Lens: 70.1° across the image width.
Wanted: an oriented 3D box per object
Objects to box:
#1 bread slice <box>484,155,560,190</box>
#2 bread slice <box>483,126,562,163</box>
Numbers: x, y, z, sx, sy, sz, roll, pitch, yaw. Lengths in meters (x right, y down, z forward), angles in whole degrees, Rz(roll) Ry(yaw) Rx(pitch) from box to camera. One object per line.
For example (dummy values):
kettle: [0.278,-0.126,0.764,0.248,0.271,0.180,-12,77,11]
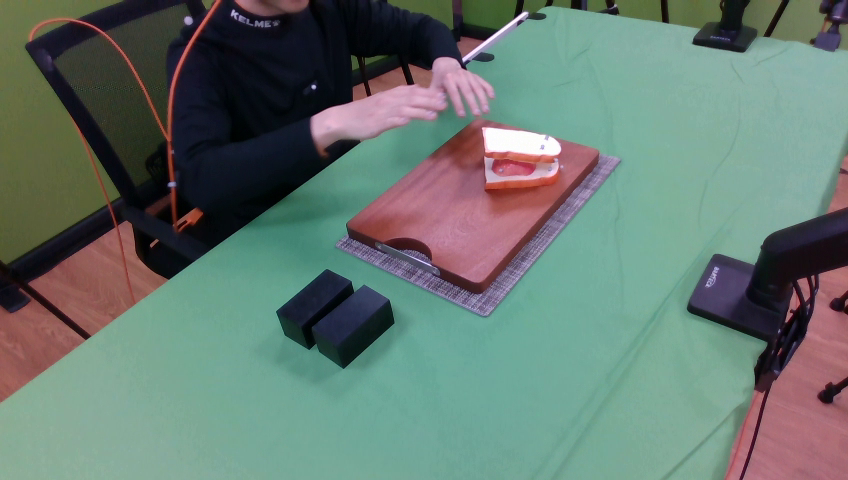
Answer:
bread slice: [0.170,-0.128,1.054,0.131,0.019,0.104,-3,42,5]
bread slice: [0.166,-0.161,1.025,0.134,0.018,0.106,5,33,-4]
